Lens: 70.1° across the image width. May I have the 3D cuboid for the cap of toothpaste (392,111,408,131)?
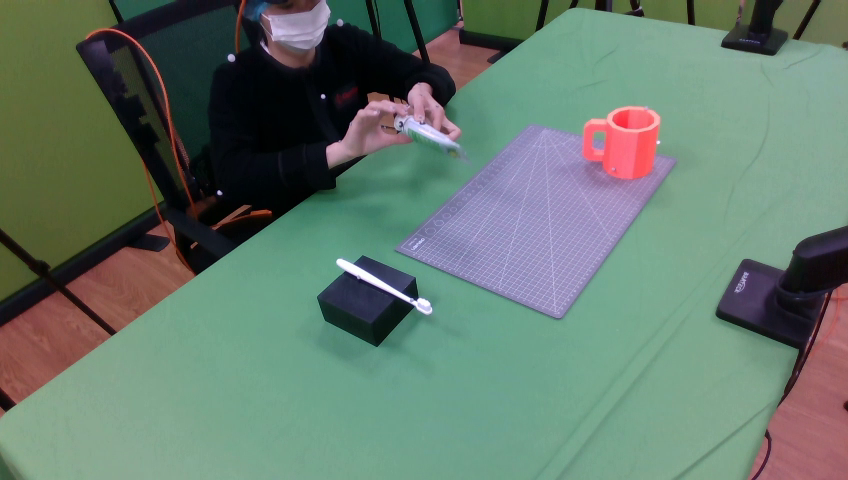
[{"bbox_3d":[-0.038,-0.202,1.033,0.011,0.037,0.037,31,53,33],"label":"cap of toothpaste"}]

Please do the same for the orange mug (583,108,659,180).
[{"bbox_3d":[0.343,-0.171,1.061,0.126,0.101,0.083,10,43,15],"label":"orange mug"}]

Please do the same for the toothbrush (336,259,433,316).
[{"bbox_3d":[-0.059,0.062,0.839,0.180,0.017,0.014,24,54,33],"label":"toothbrush"}]

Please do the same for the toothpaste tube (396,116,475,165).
[{"bbox_3d":[0.015,-0.168,0.985,0.163,0.055,0.034,32,85,35],"label":"toothpaste tube"}]
